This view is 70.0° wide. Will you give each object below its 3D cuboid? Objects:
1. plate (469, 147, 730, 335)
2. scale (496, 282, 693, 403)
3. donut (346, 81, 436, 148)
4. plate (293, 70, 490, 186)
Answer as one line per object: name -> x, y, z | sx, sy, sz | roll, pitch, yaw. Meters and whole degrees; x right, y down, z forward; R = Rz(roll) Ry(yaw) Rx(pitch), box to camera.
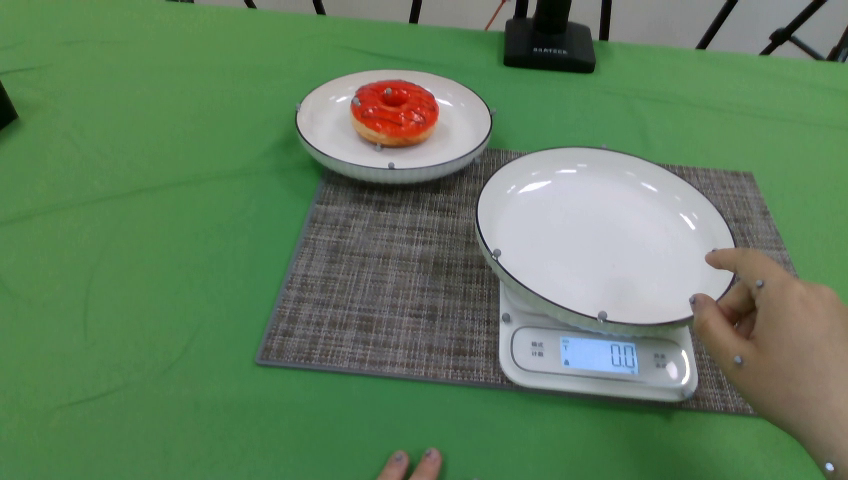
plate -> 0.139, -0.001, 0.503 | 0.208, 0.039, 0.205 | 3, 45, -2
scale -> 0.136, 0.038, 0.509 | 0.148, 0.032, 0.199 | 6, 45, 2
donut -> -0.035, -0.135, 0.656 | 0.099, 0.048, 0.098 | 3, 42, -3
plate -> -0.034, -0.119, 0.655 | 0.209, 0.038, 0.207 | 2, 42, -1
